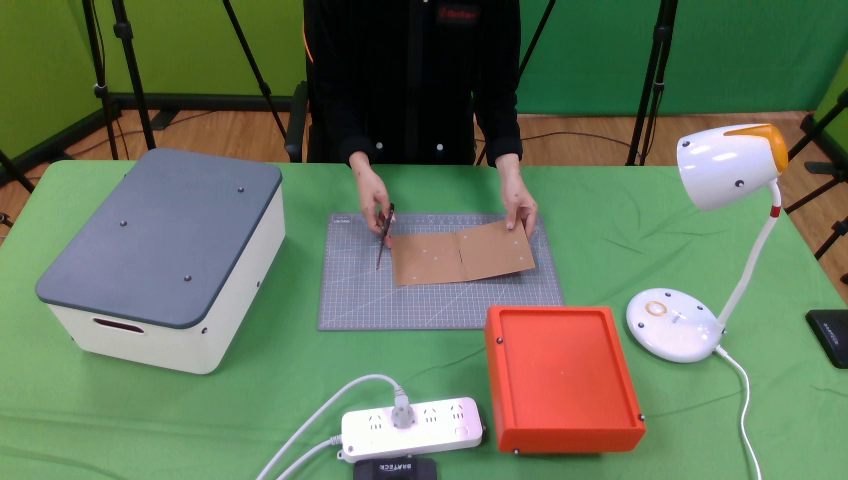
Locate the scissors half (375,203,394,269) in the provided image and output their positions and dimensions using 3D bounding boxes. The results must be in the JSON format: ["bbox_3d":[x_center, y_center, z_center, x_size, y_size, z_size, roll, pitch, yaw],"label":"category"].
[{"bbox_3d":[-0.075,-0.010,1.122,0.013,0.040,0.174,17,45,-6],"label":"scissors half"}]

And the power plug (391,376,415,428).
[{"bbox_3d":[-0.030,0.249,0.917,0.035,0.053,0.072,3,46,0],"label":"power plug"}]

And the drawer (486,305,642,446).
[{"bbox_3d":[0.202,0.200,0.919,0.195,0.073,0.210,2,47,-4],"label":"drawer"}]

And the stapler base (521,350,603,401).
[{"bbox_3d":[0.217,0.203,0.942,0.130,0.024,0.041,26,34,16],"label":"stapler base"}]

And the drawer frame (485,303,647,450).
[{"bbox_3d":[0.204,0.202,0.917,0.202,0.083,0.212,1,47,-4],"label":"drawer frame"}]

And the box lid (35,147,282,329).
[{"bbox_3d":[-0.411,-0.023,0.987,0.263,0.015,0.369,10,47,5],"label":"box lid"}]

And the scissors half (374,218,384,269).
[{"bbox_3d":[-0.082,0.005,1.133,0.013,0.040,0.174,22,28,-9],"label":"scissors half"}]

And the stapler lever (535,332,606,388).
[{"bbox_3d":[0.225,0.181,0.929,0.118,0.040,0.027,27,34,15],"label":"stapler lever"}]

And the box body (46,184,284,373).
[{"bbox_3d":[-0.415,0.029,1.040,0.254,0.161,0.362,10,46,5],"label":"box body"}]

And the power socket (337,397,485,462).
[{"bbox_3d":[-0.018,0.285,0.915,0.227,0.033,0.071,-4,46,-8],"label":"power socket"}]

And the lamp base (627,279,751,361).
[{"bbox_3d":[0.460,0.100,1.027,0.178,0.181,0.160,27,51,17],"label":"lamp base"}]

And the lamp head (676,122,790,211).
[{"bbox_3d":[0.423,-0.104,0.819,0.122,0.113,0.112,-13,33,40],"label":"lamp head"}]

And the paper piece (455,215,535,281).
[{"bbox_3d":[0.135,0.015,1.177,0.136,0.009,0.137,-10,48,2],"label":"paper piece"}]

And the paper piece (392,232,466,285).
[{"bbox_3d":[0.007,0.033,1.173,0.135,0.004,0.135,0,46,-5],"label":"paper piece"}]
